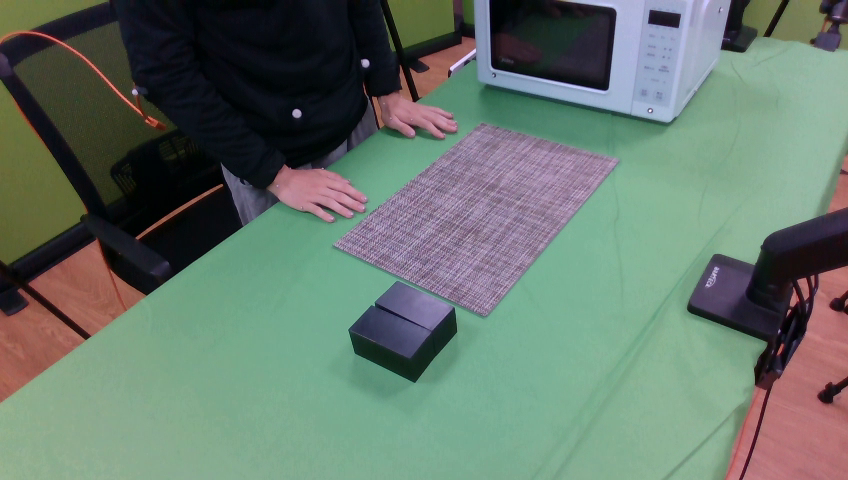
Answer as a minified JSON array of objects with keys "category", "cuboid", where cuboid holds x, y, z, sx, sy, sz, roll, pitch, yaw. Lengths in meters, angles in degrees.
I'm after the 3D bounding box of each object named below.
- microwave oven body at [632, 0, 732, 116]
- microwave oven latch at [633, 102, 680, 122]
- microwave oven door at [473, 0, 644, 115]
[{"category":"microwave oven body","cuboid":[0.377,-0.462,1.267,0.438,0.261,0.327,21,48,30]},{"category":"microwave oven latch","cuboid":[0.444,-0.249,1.157,0.078,0.029,0.030,22,49,31]},{"category":"microwave oven door","cuboid":[0.257,-0.396,1.199,0.353,0.245,0.039,21,48,29]}]
